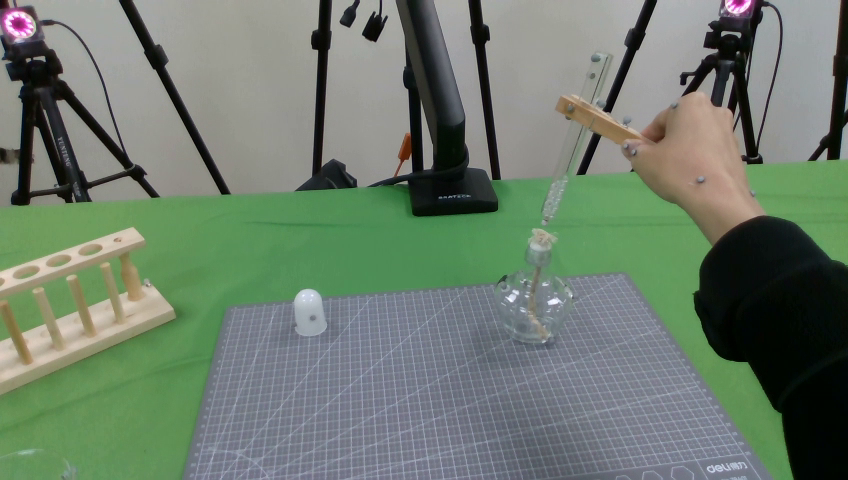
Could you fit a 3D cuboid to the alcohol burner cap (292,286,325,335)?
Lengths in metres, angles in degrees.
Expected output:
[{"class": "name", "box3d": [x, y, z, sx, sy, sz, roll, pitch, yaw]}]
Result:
[{"class": "alcohol burner cap", "box3d": [-0.118, 0.069, 0.611, 0.034, 0.048, 0.033, -1, 32, 1]}]

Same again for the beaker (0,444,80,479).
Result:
[{"class": "beaker", "box3d": [-0.243, 0.188, 0.373, 0.084, 0.101, 0.073, 0, 32, 2]}]

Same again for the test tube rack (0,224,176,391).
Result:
[{"class": "test tube rack", "box3d": [-0.375, 0.074, 0.573, 0.243, 0.086, 0.066, -25, 40, -34]}]

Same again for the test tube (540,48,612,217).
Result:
[{"class": "test tube", "box3d": [0.128, -0.087, 0.518, 0.017, 0.151, 0.017, 11, 27, -5]}]

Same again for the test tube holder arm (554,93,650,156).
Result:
[{"class": "test tube holder arm", "box3d": [0.145, -0.094, 0.493, 0.087, 0.015, 0.010, 37, 37, 26]}]

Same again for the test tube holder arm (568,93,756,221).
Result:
[{"class": "test tube holder arm", "box3d": [0.177, -0.070, 0.474, 0.013, 0.015, 0.176, -15, 46, -40]}]

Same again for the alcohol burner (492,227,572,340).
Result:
[{"class": "alcohol burner", "box3d": [0.107, 0.038, 0.588, 0.078, 0.120, 0.077, 1, 32, 0]}]
